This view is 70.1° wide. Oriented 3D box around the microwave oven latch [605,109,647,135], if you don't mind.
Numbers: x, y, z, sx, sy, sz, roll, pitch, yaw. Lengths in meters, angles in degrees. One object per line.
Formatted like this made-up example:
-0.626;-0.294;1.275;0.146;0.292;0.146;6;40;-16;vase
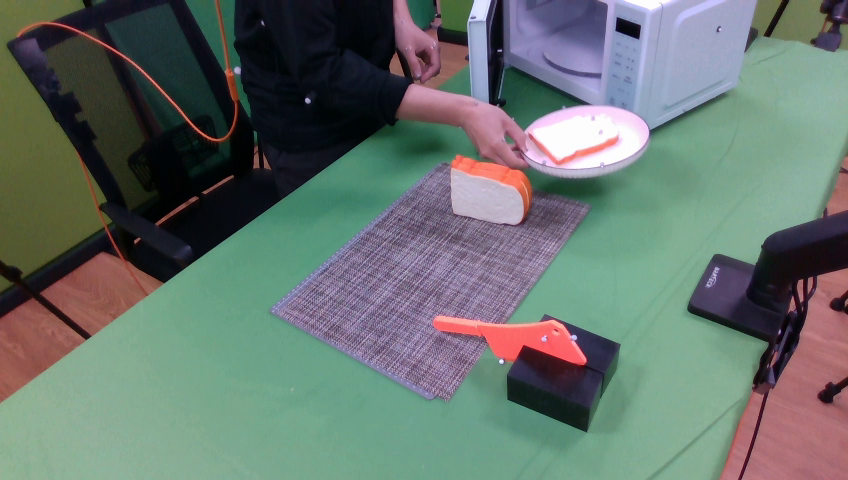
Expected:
0.378;-0.225;1.139;0.030;0.029;0.078;-26;43;-20;microwave oven latch

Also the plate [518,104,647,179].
0.262;-0.160;1.006;0.207;0.039;0.206;-8;38;7;plate

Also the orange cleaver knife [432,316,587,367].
0.101;0.127;0.761;0.210;0.077;0.012;-1;34;40;orange cleaver knife

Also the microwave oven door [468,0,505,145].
0.129;-0.387;1.208;0.039;0.245;0.355;2;41;11;microwave oven door

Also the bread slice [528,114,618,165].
0.257;-0.175;1.024;0.135;0.018;0.106;-21;42;-11;bread slice

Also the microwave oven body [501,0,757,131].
0.396;-0.448;1.248;0.327;0.261;0.437;-27;44;-21;microwave oven body
